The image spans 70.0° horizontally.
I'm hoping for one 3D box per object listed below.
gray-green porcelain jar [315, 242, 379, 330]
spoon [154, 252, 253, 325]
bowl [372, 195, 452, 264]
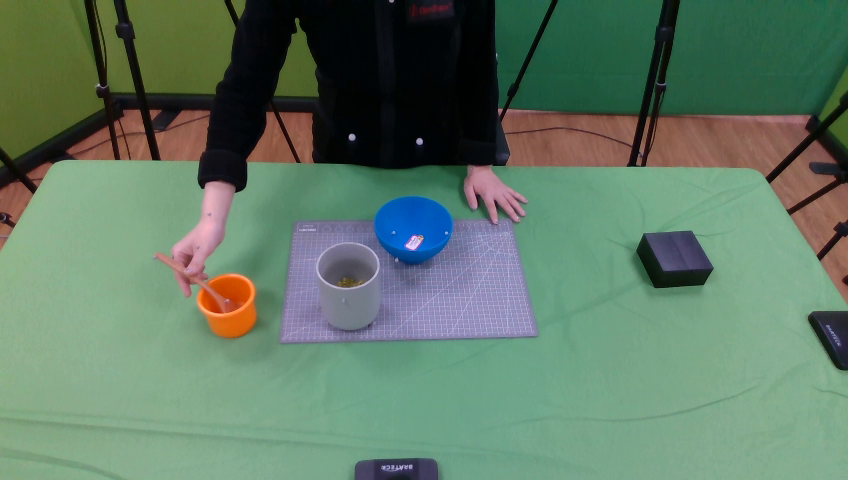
[{"bbox_3d":[-0.129,0.084,1.031,0.106,0.127,0.105,2,46,-2],"label":"gray-green porcelain jar"},{"bbox_3d":[-0.364,0.079,1.006,0.021,0.194,0.041,-29,28,30],"label":"spoon"},{"bbox_3d":[-0.023,-0.008,1.161,0.151,0.077,0.150,2,46,-2],"label":"bowl"}]
